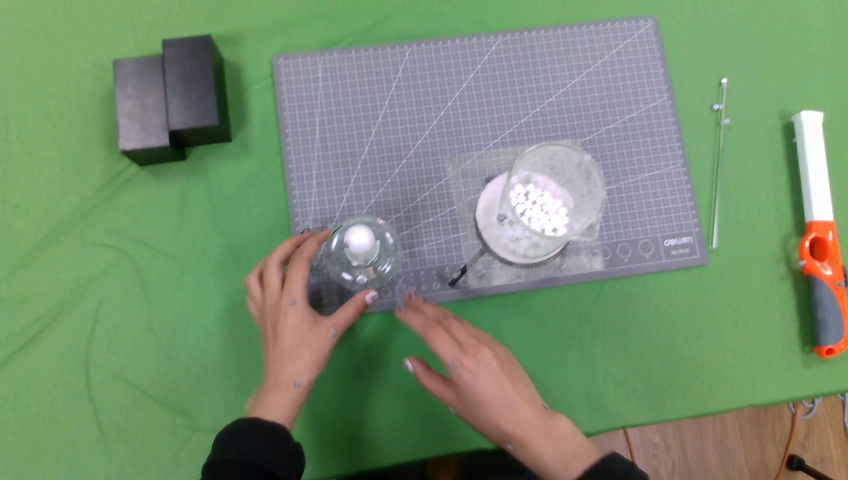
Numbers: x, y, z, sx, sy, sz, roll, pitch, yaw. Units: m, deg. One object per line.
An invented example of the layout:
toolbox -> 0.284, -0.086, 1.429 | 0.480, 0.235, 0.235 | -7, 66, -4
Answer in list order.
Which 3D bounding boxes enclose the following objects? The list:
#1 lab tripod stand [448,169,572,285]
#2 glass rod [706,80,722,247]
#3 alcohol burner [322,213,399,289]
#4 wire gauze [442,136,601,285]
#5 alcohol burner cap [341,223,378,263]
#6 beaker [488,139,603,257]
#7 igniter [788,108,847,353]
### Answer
lab tripod stand -> 0.082, -0.012, 0.599 | 0.148, 0.132, 0.148 | 0, 80, -1
glass rod -> 0.332, -0.090, 0.694 | 0.008, 0.008, 0.199 | 9, 81, -2
alcohol burner -> -0.063, 0.007, 0.597 | 0.078, 0.119, 0.077 | 1, 78, -3
wire gauze -> 0.086, -0.027, 0.535 | 0.125, 0.011, 0.121 | -9, 79, -3
alcohol burner cap -> -0.061, 0.001, 0.561 | 0.034, 0.048, 0.033 | 0, 77, 0
beaker -> 0.093, -0.026, 0.486 | 0.074, 0.100, 0.084 | -40, 83, -9
igniter -> 0.439, -0.014, 0.678 | 0.057, 0.025, 0.275 | 2, 80, -14
